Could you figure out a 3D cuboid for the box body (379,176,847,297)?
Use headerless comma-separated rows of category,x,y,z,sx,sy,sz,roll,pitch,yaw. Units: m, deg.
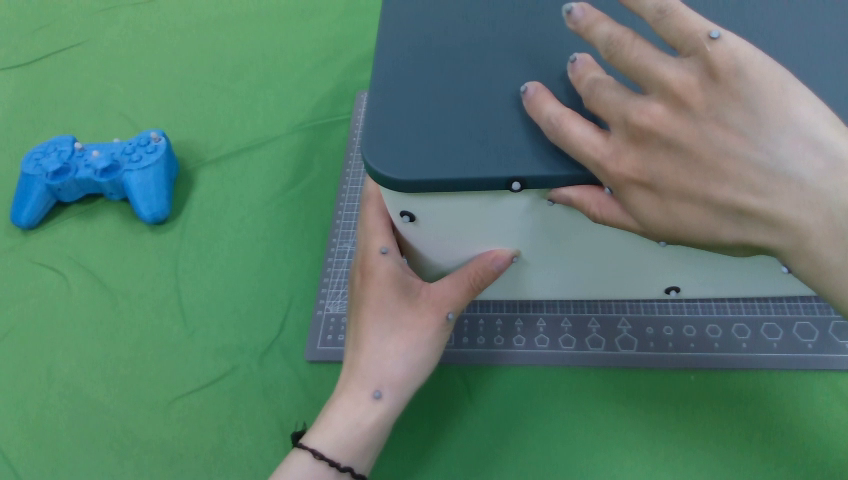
box body,0.161,-0.096,0.448,0.364,0.162,0.252,-1,55,7

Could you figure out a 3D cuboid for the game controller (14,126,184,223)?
game controller,-0.302,-0.065,0.565,0.155,0.052,0.096,-1,51,7

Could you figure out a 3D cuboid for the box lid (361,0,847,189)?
box lid,0.149,-0.139,0.389,0.371,0.015,0.261,-1,55,7
